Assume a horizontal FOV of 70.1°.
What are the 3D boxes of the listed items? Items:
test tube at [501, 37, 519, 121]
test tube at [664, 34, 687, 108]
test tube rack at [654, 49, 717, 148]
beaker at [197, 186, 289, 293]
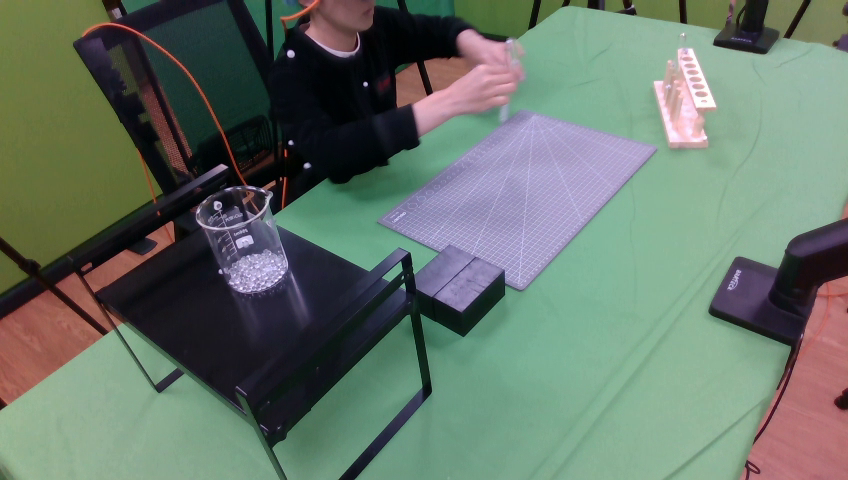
[{"bbox_3d":[0.148,-0.275,1.047,0.017,0.150,0.017,1,38,-1],"label":"test tube"},{"bbox_3d":[0.482,-0.323,1.160,0.017,0.151,0.017,-3,42,3],"label":"test tube"},{"bbox_3d":[0.502,-0.281,1.176,0.066,0.085,0.241,1,41,11],"label":"test tube rack"},{"bbox_3d":[-0.192,0.001,0.666,0.084,0.101,0.073,-33,47,-27],"label":"beaker"}]
